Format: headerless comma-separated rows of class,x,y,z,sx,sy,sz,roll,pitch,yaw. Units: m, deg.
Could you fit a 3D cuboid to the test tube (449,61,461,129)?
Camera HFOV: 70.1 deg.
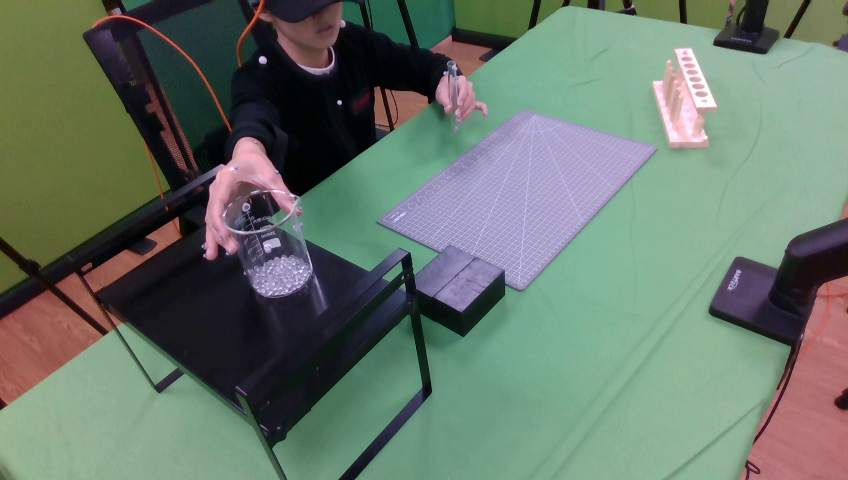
test tube,0.057,-0.260,1.100,0.017,0.151,0.017,-3,53,4

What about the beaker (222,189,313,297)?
beaker,-0.162,0.005,0.657,0.084,0.101,0.073,-27,44,-22

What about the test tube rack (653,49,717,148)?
test tube rack,0.502,-0.281,1.177,0.066,0.085,0.241,1,41,10
